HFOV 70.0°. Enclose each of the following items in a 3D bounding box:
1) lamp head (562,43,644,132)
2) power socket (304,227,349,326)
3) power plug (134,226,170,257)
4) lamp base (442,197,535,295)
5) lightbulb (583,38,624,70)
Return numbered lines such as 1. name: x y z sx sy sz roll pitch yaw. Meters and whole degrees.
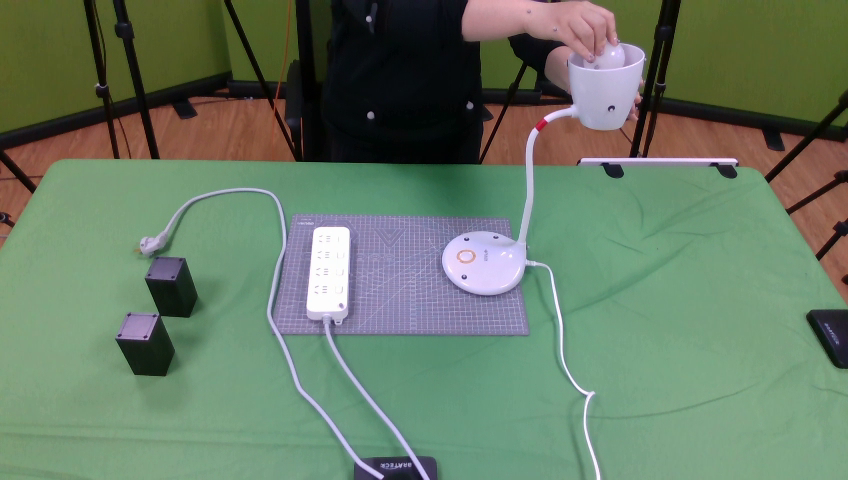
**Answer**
1. lamp head: 0.273 -0.229 0.937 0.112 0.123 0.112 -2 36 2
2. power socket: -0.177 0.059 1.115 0.072 0.033 0.225 -1 46 -4
3. power plug: -0.515 0.006 1.153 0.052 0.035 0.072 -6 24 6
4. lamp base: 0.130 -0.012 1.105 0.179 0.181 0.159 -1 46 -9
5. lightbulb: 0.274 -0.253 0.927 0.059 0.108 0.059 -8 31 5
